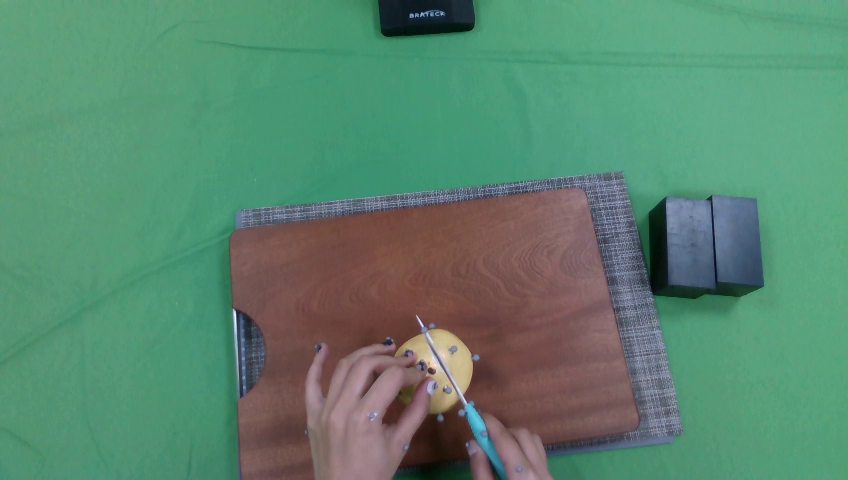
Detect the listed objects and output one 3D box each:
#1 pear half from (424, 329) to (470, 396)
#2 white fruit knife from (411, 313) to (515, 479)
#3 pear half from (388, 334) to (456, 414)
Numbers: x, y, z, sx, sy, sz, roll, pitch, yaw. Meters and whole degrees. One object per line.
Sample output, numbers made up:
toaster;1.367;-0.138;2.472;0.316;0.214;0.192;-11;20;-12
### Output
pear half;0.026;0.112;0.583;0.031;0.088;0.070;-34;74;-11
white fruit knife;0.038;0.158;0.560;0.016;0.027;0.207;-30;88;-14
pear half;-0.006;0.130;0.568;0.056;0.110;0.076;-35;75;-7
